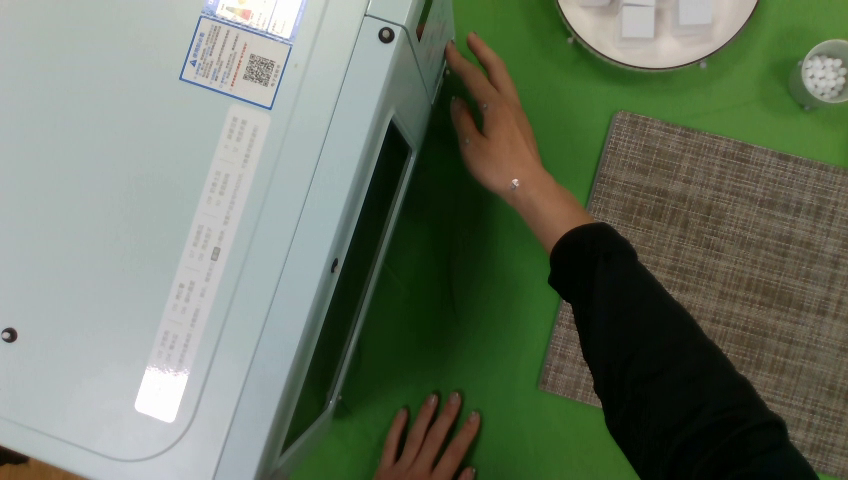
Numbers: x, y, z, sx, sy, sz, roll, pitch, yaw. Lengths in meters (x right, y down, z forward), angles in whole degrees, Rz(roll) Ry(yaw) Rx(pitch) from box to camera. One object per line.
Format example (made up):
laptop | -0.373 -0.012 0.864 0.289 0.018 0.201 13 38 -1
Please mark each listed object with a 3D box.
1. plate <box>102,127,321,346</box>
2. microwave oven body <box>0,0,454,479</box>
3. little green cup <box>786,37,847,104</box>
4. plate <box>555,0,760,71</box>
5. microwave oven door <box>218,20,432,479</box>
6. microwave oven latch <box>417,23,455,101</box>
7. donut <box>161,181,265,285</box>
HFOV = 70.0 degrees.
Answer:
plate | -0.200 -0.003 0.583 0.209 0.038 0.209 0 91 4
microwave oven body | -0.197 -0.063 0.530 0.326 0.260 0.441 19 93 4
little green cup | 0.392 -0.164 0.597 0.061 0.038 0.061 0 90 5
plate | 0.231 -0.271 0.609 0.207 0.039 0.207 0 90 5
microwave oven door | -0.074 0.024 0.516 0.039 0.244 0.355 18 92 5
microwave oven latch | 0.007 -0.183 0.609 0.030 0.029 0.079 21 93 4
donut | -0.198 -0.006 0.569 0.099 0.048 0.099 0 92 7
